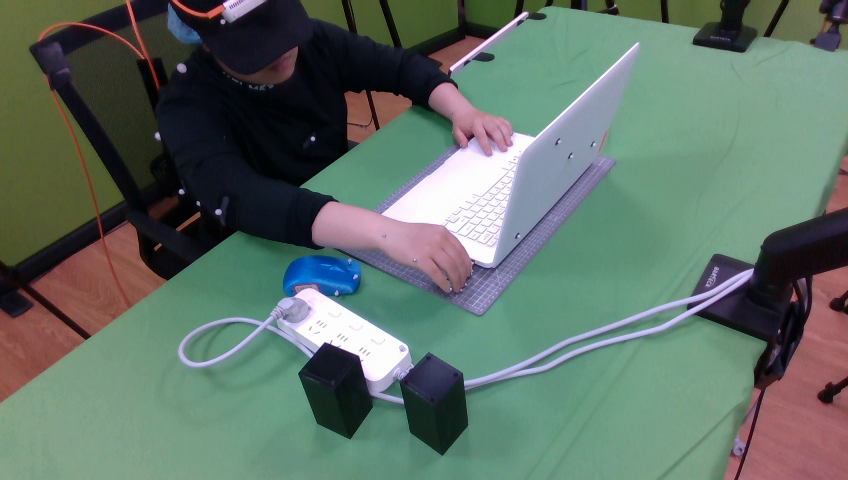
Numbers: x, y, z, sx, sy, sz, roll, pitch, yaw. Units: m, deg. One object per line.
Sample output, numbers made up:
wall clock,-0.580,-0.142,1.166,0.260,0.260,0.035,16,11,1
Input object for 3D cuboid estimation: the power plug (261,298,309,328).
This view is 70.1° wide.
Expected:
power plug,-0.193,0.108,0.830,0.073,0.053,0.035,-32,43,-27

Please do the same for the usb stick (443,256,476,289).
usb stick,0.055,0.044,0.897,0.021,0.027,0.059,26,49,34

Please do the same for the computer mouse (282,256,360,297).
computer mouse,-0.156,0.054,0.917,0.117,0.041,0.062,0,38,2

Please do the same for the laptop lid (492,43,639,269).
laptop lid,0.217,-0.129,0.911,0.013,0.242,0.358,32,51,21

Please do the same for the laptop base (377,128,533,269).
laptop base,0.116,-0.088,1.059,0.233,0.023,0.355,20,47,33

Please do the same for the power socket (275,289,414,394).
power socket,-0.115,0.133,0.820,0.225,0.033,0.072,25,49,32
